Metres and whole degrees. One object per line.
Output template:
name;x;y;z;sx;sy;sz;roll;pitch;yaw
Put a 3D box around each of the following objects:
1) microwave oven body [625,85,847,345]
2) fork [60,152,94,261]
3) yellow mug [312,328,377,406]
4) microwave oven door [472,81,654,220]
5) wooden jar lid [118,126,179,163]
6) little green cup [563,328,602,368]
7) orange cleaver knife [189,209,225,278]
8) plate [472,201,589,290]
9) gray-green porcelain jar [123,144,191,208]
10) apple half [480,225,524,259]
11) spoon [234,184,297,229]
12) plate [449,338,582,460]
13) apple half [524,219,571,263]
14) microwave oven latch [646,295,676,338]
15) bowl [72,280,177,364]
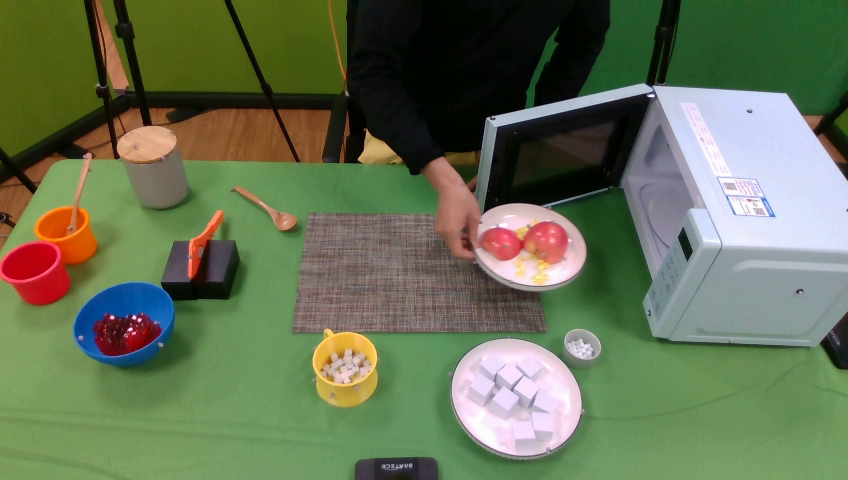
microwave oven body;0.569;-0.054;1.116;0.326;0.261;0.439;2;46;-1
fork;-0.638;-0.063;1.120;0.028;0.018;0.207;12;90;6
yellow mug;-0.132;0.193;0.971;0.100;0.064;0.130;-22;51;-23
microwave oven door;0.273;-0.174;1.202;0.356;0.245;0.039;-16;50;-18
wooden jar lid;-0.528;-0.181;1.167;0.108;0.021;0.107;4;47;-4
little green cup;0.266;0.185;1.025;0.061;0.039;0.061;1;45;-1
orange cleaver knife;-0.400;0.002;1.122;0.012;0.077;0.210;4;23;-4
plate;0.188;0.012;1.084;0.209;0.038;0.208;2;46;-2
gray-green porcelain jar;-0.531;-0.137;1.214;0.106;0.127;0.105;2;47;-2
apple half;0.144;-0.006;1.089;0.081;0.033;0.081;4;48;-4
spoon;-0.327;-0.073;1.239;0.193;0.022;0.041;34;69;25
plate;0.141;0.251;0.955;0.208;0.039;0.206;2;46;-2
apple half;0.225;-0.006;1.084;0.074;0.053;0.080;-28;54;-31
microwave oven latch;0.413;0.133;1.060;0.030;0.029;0.078;4;46;1
bowl;-0.473;0.146;0.982;0.151;0.077;0.150;2;46;-2
